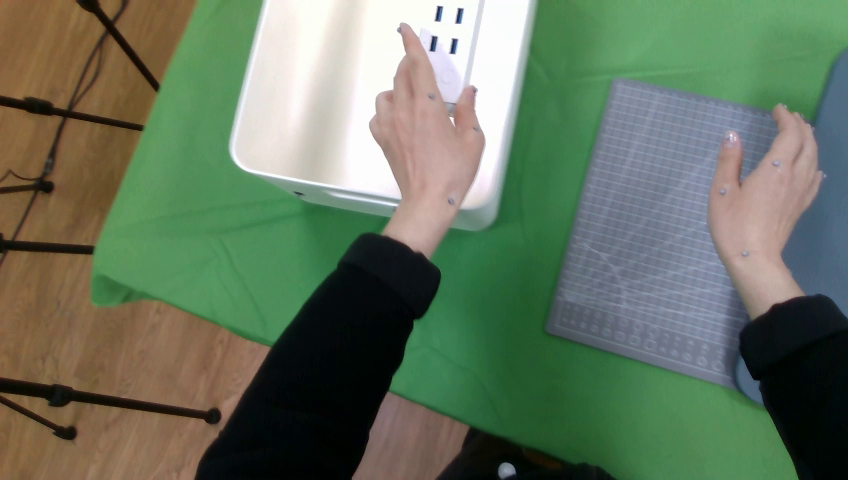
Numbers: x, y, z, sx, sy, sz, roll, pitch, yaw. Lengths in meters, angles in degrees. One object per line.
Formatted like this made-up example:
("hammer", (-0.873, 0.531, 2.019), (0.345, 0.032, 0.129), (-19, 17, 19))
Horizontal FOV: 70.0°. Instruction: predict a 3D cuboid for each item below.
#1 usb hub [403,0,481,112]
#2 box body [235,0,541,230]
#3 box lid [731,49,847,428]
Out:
("usb hub", (0.018, -0.177, 0.526), (0.049, 0.025, 0.125), (11, 92, 18))
("box body", (-0.014, -0.207, 0.646), (0.253, 0.161, 0.363), (10, 83, 10))
("box lid", (0.477, 0.016, 0.576), (0.262, 0.015, 0.372), (16, 97, 11))
